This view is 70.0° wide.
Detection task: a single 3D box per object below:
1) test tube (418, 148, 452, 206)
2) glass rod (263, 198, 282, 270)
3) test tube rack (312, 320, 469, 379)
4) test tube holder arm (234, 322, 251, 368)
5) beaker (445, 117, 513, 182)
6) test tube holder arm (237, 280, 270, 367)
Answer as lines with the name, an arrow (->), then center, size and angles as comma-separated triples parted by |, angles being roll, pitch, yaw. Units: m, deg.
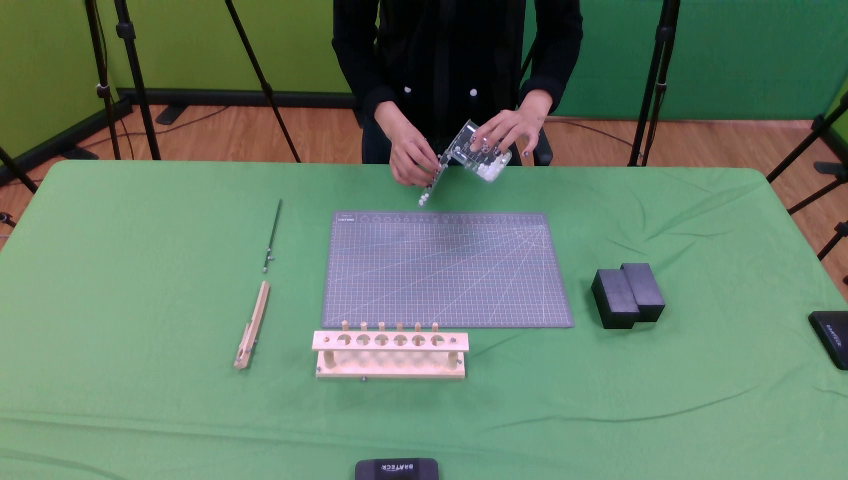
test tube -> 0.019, -0.116, 1.150 | 0.017, 0.150, 0.017 | 14, 48, -15
glass rod -> -0.299, -0.017, 1.202 | 0.008, 0.008, 0.198 | 1, 46, -2
test tube rack -> -0.054, 0.173, 0.984 | 0.242, 0.085, 0.066 | 1, 46, -3
test tube holder arm -> -0.299, 0.173, 1.013 | 0.010, 0.015, 0.087 | -17, 41, 22
beaker -> 0.097, -0.155, 1.070 | 0.100, 0.084, 0.074 | 36, 48, -2
test tube holder arm -> -0.291, 0.140, 1.042 | 0.013, 0.015, 0.177 | -17, 41, 21
